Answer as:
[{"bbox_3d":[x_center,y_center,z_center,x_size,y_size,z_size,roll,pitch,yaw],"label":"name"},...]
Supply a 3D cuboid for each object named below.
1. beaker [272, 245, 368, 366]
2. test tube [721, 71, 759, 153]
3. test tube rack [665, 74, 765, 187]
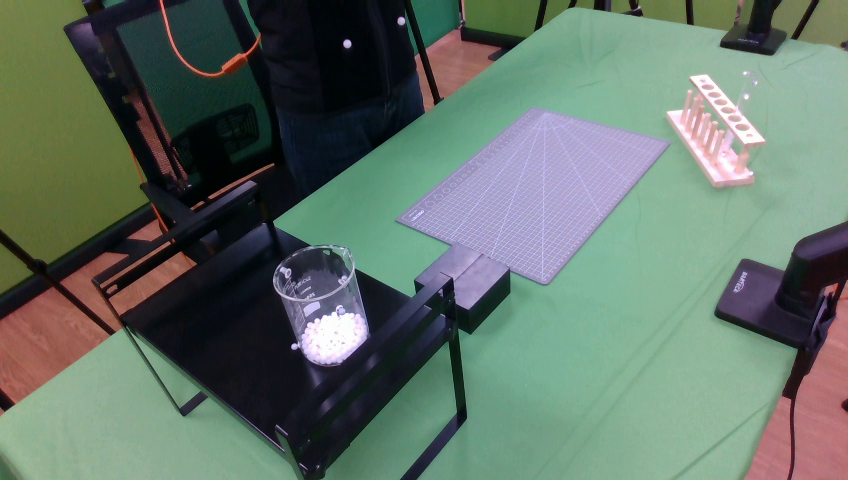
[{"bbox_3d":[-0.093,0.064,0.578,0.073,0.101,0.084,21,48,29],"label":"beaker"},{"bbox_3d":[0.529,-0.212,1.015,0.017,0.151,0.017,1,40,0],"label":"test tube"},{"bbox_3d":[0.512,-0.202,1.082,0.067,0.085,0.241,-6,41,2],"label":"test tube rack"}]
